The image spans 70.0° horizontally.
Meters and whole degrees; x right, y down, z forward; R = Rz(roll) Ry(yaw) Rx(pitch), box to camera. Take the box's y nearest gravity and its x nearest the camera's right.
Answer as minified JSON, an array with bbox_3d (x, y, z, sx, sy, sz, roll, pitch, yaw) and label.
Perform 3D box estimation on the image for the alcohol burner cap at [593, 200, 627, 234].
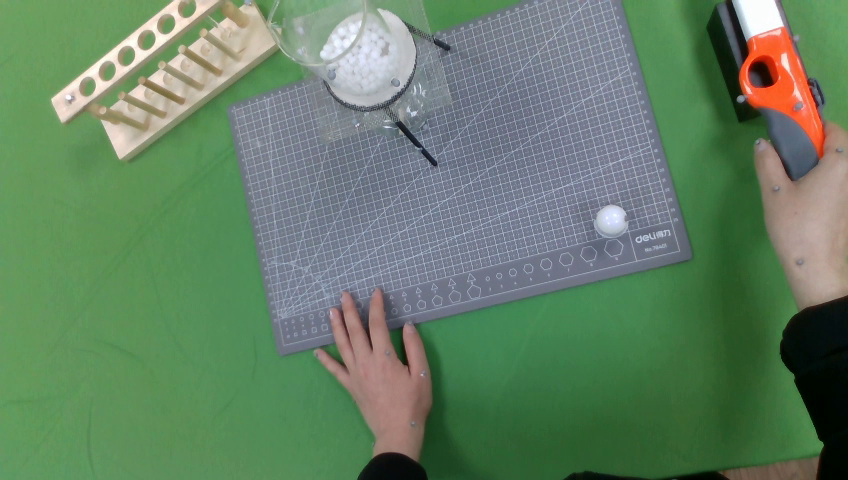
[{"bbox_3d":[0.179,-0.024,0.581,0.034,0.048,0.034,-1,86,14],"label":"alcohol burner cap"}]

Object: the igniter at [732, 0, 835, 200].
[{"bbox_3d":[0.293,-0.169,0.519,0.057,0.025,0.275,-16,81,14],"label":"igniter"}]

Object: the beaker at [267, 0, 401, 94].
[{"bbox_3d":[-0.066,-0.163,0.486,0.084,0.100,0.074,-1,87,15],"label":"beaker"}]

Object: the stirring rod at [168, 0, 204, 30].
[{"bbox_3d":[-0.273,-0.261,0.610,0.006,0.177,0.014,-30,74,5],"label":"stirring rod"}]

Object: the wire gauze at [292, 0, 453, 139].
[{"bbox_3d":[-0.049,-0.161,0.531,0.125,0.011,0.121,-15,87,11],"label":"wire gauze"}]

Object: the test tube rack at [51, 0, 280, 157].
[{"bbox_3d":[-0.294,-0.195,0.692,0.242,0.085,0.066,-32,80,11],"label":"test tube rack"}]

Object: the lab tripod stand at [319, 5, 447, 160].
[{"bbox_3d":[-0.032,-0.156,0.594,0.148,0.132,0.148,-1,88,13],"label":"lab tripod stand"}]

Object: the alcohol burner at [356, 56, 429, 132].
[{"bbox_3d":[-0.036,-0.151,0.605,0.078,0.119,0.078,-1,86,13],"label":"alcohol burner"}]
